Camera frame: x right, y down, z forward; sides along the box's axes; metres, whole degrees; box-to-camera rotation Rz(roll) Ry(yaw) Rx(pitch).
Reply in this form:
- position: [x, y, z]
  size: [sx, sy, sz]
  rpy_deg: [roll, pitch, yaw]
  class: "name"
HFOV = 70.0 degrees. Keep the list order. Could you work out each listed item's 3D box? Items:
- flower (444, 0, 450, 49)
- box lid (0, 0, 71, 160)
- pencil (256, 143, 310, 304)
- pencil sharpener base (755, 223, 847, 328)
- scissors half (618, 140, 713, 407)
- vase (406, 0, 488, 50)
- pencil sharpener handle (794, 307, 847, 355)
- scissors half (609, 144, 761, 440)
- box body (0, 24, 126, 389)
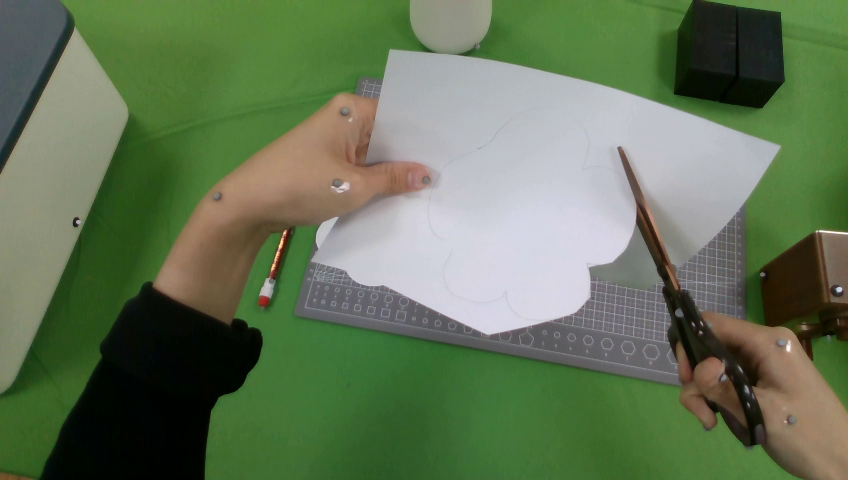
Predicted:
- position: [0.021, -0.347, 0.587]
  size: [0.044, 0.365, 0.038]
  rpy_deg: [3, 50, 5]
  class: "flower"
- position: [-0.484, -0.081, 0.509]
  size: [0.263, 0.015, 0.369]
  rpy_deg: [10, 68, 3]
  class: "box lid"
- position: [-0.148, -0.023, 0.651]
  size: [0.012, 0.012, 0.193]
  rpy_deg: [10, 67, 5]
  class: "pencil"
- position: [0.370, 0.041, 0.572]
  size: [0.061, 0.108, 0.076]
  rpy_deg: [5, 69, 2]
  class: "pencil sharpener base"
- position: [0.140, 0.023, 0.352]
  size: [0.013, 0.039, 0.176]
  rpy_deg: [-23, 110, 4]
  class: "scissors half"
- position: [0.026, -0.303, 0.659]
  size: [0.098, 0.201, 0.097]
  rpy_deg: [0, 67, 1]
  class: "vase"
- position: [0.361, 0.083, 0.542]
  size: [0.036, 0.068, 0.030]
  rpy_deg: [10, 68, -11]
  class: "pencil sharpener handle"
- position: [0.139, 0.025, 0.330]
  size: [0.013, 0.040, 0.174]
  rpy_deg: [-23, 81, -1]
  class: "scissors half"
- position: [-0.483, -0.051, 0.578]
  size: [0.254, 0.161, 0.361]
  rpy_deg: [9, 69, 4]
  class: "box body"
